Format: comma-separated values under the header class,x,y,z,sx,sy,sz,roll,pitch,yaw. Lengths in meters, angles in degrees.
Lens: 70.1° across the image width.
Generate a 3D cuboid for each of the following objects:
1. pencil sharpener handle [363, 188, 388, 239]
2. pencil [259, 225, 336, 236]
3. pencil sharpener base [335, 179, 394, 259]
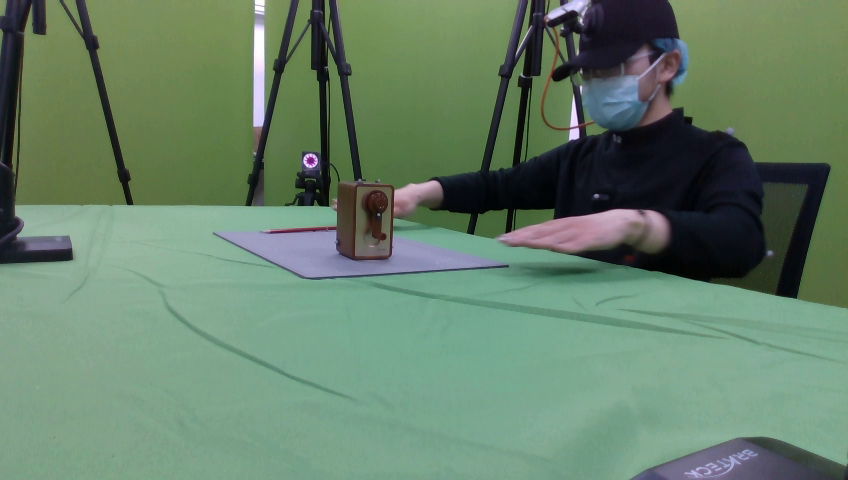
class,x,y,z,sx,sy,sz,roll,pitch,yaw
pencil sharpener handle,-0.060,-0.035,0.807,0.036,0.067,0.030,-2,9,-28
pencil,-0.214,-0.020,1.125,0.195,0.012,0.012,-8,12,-35
pencil sharpener base,-0.084,-0.030,0.853,0.061,0.107,0.076,-1,8,-28
